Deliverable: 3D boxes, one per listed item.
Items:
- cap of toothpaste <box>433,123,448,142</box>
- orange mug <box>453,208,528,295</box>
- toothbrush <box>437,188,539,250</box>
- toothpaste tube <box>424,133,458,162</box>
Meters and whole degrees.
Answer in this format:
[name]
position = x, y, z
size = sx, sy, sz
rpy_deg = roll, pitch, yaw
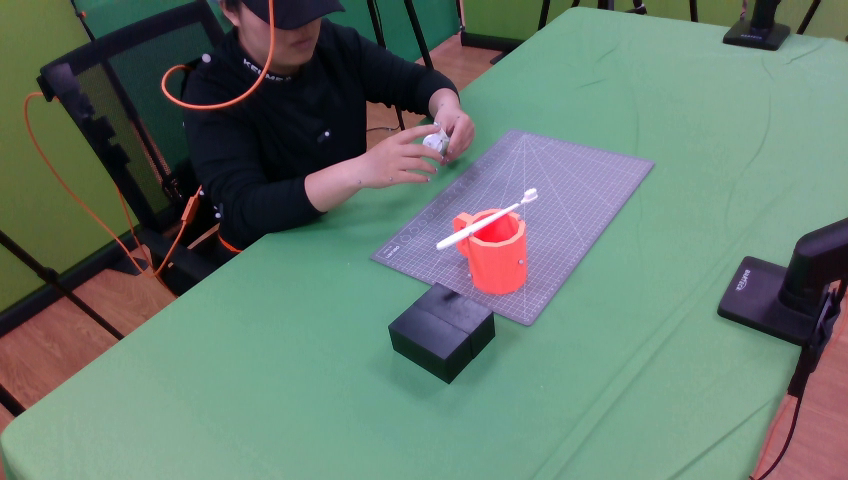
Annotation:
[cap of toothpaste]
position = 0.026, -0.175, 0.993
size = 0.011, 0.037, 0.037
rpy_deg = -35, 43, 0
[orange mug]
position = 0.095, 0.009, 0.894
size = 0.125, 0.101, 0.084
rpy_deg = 32, 55, 33
[toothbrush]
position = 0.093, -0.031, 0.859
size = 0.182, 0.017, 0.014
rpy_deg = -28, 52, -21
[toothpaste tube]
position = 0.033, -0.170, 1.084
size = 0.034, 0.055, 0.165
rpy_deg = 32, 11, 10
